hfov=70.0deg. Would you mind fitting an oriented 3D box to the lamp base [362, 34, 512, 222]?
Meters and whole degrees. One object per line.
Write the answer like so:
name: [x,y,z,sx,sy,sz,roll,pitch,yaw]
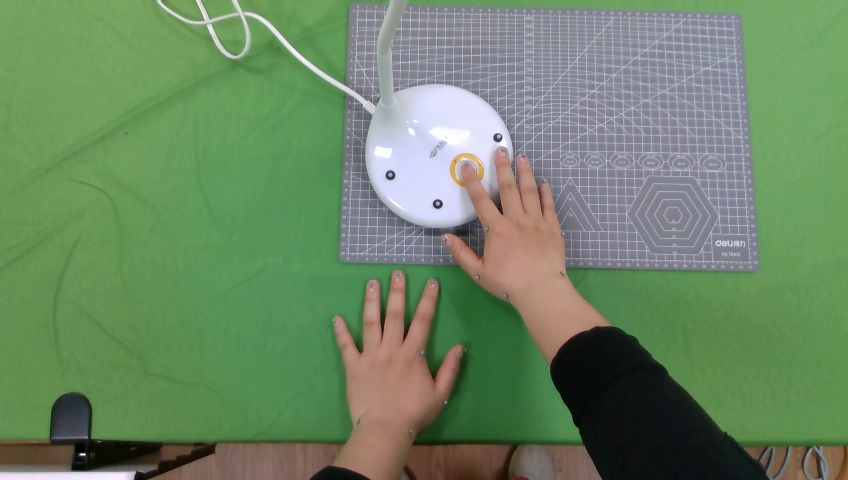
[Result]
lamp base: [0.003,-0.117,0.578,0.179,0.181,0.160,28,81,7]
